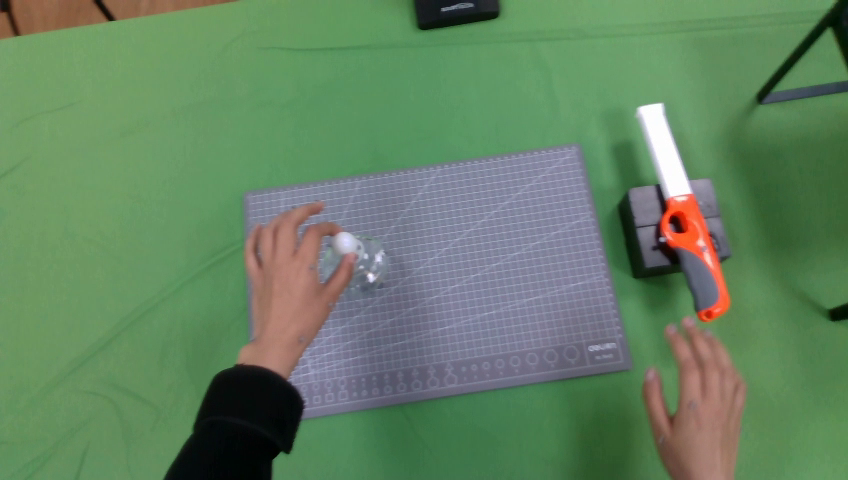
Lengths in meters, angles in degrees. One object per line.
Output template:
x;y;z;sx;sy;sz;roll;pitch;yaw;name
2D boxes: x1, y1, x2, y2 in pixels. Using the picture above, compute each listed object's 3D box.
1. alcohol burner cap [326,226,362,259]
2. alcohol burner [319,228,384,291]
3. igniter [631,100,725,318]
-0.089;0.001;0.656;0.034;0.048;0.033;-2;78;8;alcohol burner cap
-0.086;0.018;0.706;0.078;0.120;0.077;0;72;0;alcohol burner
0.296;-0.044;0.712;0.057;0.025;0.274;-9;70;-1;igniter
